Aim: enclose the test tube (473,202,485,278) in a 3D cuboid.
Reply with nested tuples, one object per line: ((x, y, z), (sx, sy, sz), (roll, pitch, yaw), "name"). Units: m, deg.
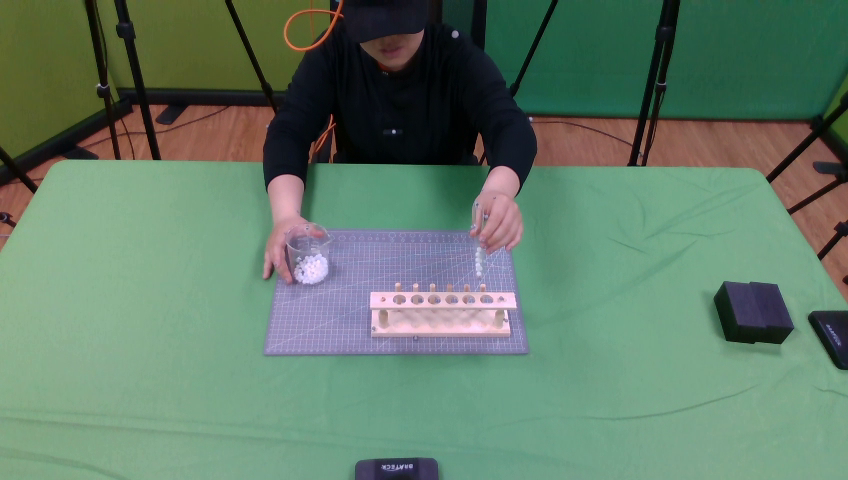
((0.086, 0.003, 0.944), (0.017, 0.151, 0.017), (-2, 41, 2), "test tube")

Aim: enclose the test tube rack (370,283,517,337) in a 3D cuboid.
((0.030, 0.116, 1.041), (0.242, 0.085, 0.066), (1, 46, -4), "test tube rack")

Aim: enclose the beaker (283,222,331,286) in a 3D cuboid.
((-0.208, 0.028, 1.098), (0.084, 0.101, 0.073), (2, 46, -4), "beaker")
